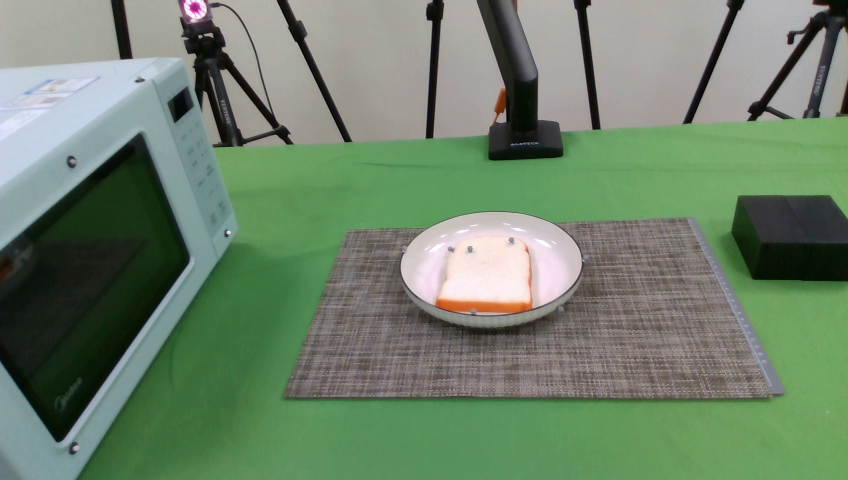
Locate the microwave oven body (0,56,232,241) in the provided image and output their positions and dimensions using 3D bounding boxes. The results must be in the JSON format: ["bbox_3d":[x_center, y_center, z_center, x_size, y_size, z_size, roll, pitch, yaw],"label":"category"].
[{"bbox_3d":[-0.448,0.012,0.622,0.325,0.262,0.438,-1,34,8],"label":"microwave oven body"}]

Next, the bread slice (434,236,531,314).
[{"bbox_3d":[0.071,0.037,0.698,0.105,0.019,0.130,0,35,10],"label":"bread slice"}]

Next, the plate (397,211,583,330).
[{"bbox_3d":[0.074,0.035,0.697,0.209,0.038,0.207,-5,33,4],"label":"plate"}]

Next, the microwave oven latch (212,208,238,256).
[{"bbox_3d":[-0.273,-0.010,0.801,0.030,0.030,0.078,0,34,8],"label":"microwave oven latch"}]

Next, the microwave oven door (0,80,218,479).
[{"bbox_3d":[-0.308,0.027,0.565,0.039,0.246,0.353,-2,34,8],"label":"microwave oven door"}]
